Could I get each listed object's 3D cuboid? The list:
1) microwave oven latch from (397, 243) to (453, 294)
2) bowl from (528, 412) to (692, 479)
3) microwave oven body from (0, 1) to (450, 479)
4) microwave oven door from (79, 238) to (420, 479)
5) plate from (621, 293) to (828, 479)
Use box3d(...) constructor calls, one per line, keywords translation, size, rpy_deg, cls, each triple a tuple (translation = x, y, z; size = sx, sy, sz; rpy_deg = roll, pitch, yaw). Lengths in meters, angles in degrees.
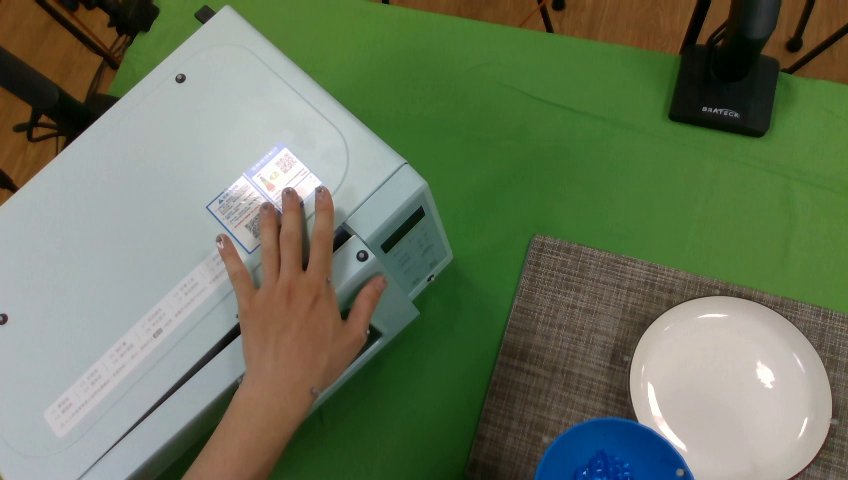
box3d(translation=(0.000, 0.029, 0.739), size=(0.079, 0.030, 0.030), rpy_deg=(-43, 72, -5), cls="microwave oven latch")
box3d(translation=(0.168, 0.241, 0.573), size=(0.151, 0.077, 0.150), rpy_deg=(0, 73, 1), cls="bowl")
box3d(translation=(-0.242, 0.028, 0.672), size=(0.441, 0.262, 0.324), rpy_deg=(-45, 72, -6), cls="microwave oven body")
box3d(translation=(-0.165, 0.156, 0.615), size=(0.355, 0.245, 0.039), rpy_deg=(-42, 70, -6), cls="microwave oven door")
box3d(translation=(0.322, 0.163, 0.663), size=(0.207, 0.039, 0.206), rpy_deg=(-2, 72, 8), cls="plate")
